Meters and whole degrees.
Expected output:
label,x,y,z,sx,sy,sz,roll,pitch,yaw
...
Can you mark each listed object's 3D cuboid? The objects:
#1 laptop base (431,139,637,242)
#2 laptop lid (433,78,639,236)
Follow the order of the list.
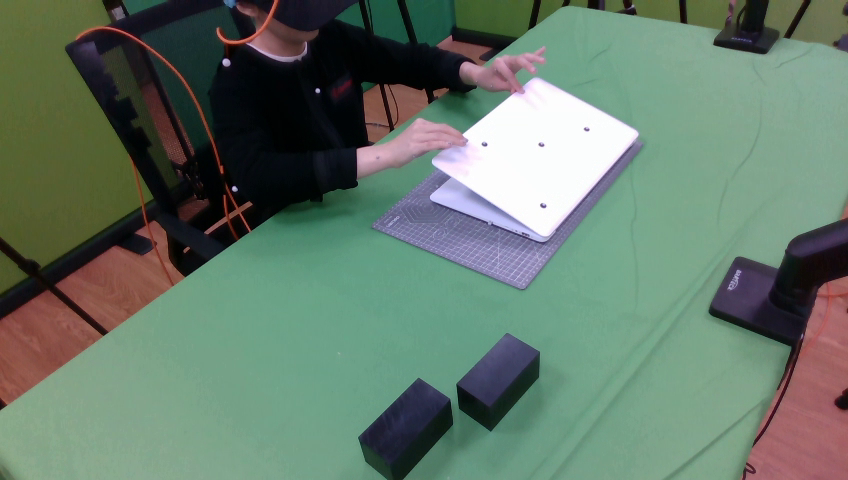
label,x,y,z,sx,sy,sz,roll,pitch,yaw
laptop base,0.208,-0.128,1.098,0.233,0.023,0.355,20,47,33
laptop lid,0.207,-0.163,1.063,0.240,0.013,0.358,36,54,19
